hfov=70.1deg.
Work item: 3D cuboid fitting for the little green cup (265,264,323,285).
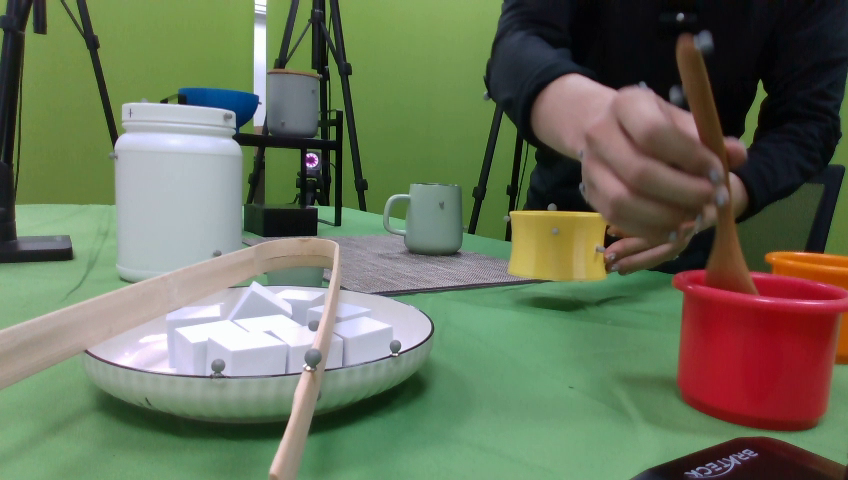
[{"bbox_3d":[-0.134,0.033,0.628,0.061,0.038,0.061,3,7,0],"label":"little green cup"}]

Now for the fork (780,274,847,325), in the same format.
[{"bbox_3d":[0.332,0.018,0.443,0.028,0.018,0.207,-2,-35,-16],"label":"fork"}]

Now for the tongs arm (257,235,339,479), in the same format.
[{"bbox_3d":[-0.074,0.040,0.345,0.051,0.026,0.384,-1,10,-3],"label":"tongs arm"}]

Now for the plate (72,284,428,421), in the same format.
[{"bbox_3d":[-0.102,0.067,0.381,0.208,0.039,0.207,2,7,0],"label":"plate"}]

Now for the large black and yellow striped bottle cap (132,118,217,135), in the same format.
[{"bbox_3d":[-0.359,-0.164,0.875,0.115,0.019,0.115,2,6,0],"label":"large black and yellow striped bottle cap"}]

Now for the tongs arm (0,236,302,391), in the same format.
[{"bbox_3d":[-0.157,0.037,0.347,0.028,0.028,0.388,-2,8,11],"label":"tongs arm"}]

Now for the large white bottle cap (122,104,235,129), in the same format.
[{"bbox_3d":[-0.266,-0.135,0.663,0.115,0.018,0.115,3,7,0],"label":"large white bottle cap"}]

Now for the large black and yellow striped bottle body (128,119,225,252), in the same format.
[{"bbox_3d":[-0.361,-0.081,0.887,0.131,0.184,0.130,2,8,0],"label":"large black and yellow striped bottle body"}]

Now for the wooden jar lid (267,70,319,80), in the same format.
[{"bbox_3d":[-0.275,-0.339,1.271,0.108,0.020,0.108,5,6,0],"label":"wooden jar lid"}]

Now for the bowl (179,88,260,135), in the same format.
[{"bbox_3d":[-0.400,-0.248,1.188,0.151,0.077,0.151,2,6,0],"label":"bowl"}]

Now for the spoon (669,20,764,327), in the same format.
[{"bbox_3d":[0.160,-0.027,0.336,0.022,0.194,0.041,-27,24,-16],"label":"spoon"}]

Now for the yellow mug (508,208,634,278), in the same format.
[{"bbox_3d":[0.153,0.001,0.620,0.131,0.064,0.100,1,4,-7],"label":"yellow mug"}]

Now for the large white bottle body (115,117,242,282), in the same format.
[{"bbox_3d":[-0.270,-0.051,0.673,0.131,0.184,0.130,2,8,0],"label":"large white bottle body"}]

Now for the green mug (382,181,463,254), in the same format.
[{"bbox_3d":[-0.001,-0.036,0.922,0.126,0.105,0.092,0,8,-16],"label":"green mug"}]

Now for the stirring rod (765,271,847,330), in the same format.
[{"bbox_3d":[0.352,0.020,0.481,0.176,0.006,0.014,-40,-8,17],"label":"stirring rod"}]

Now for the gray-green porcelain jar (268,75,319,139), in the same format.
[{"bbox_3d":[-0.277,-0.278,1.280,0.106,0.126,0.106,2,8,0],"label":"gray-green porcelain jar"}]
